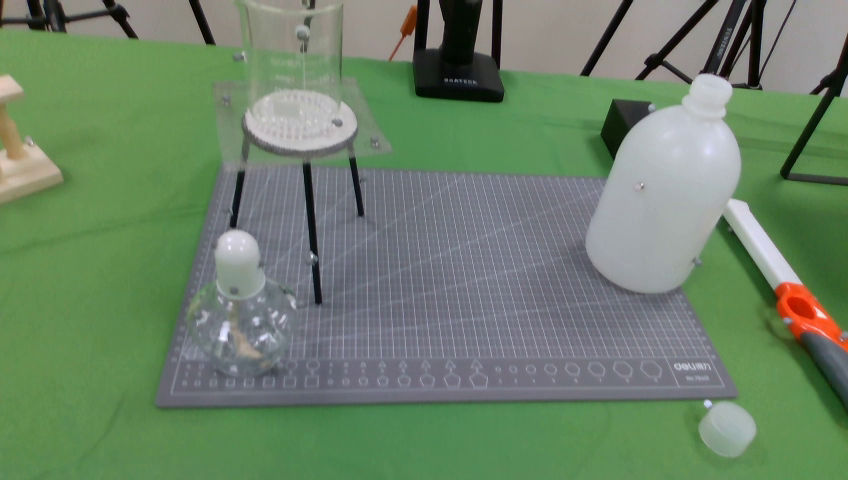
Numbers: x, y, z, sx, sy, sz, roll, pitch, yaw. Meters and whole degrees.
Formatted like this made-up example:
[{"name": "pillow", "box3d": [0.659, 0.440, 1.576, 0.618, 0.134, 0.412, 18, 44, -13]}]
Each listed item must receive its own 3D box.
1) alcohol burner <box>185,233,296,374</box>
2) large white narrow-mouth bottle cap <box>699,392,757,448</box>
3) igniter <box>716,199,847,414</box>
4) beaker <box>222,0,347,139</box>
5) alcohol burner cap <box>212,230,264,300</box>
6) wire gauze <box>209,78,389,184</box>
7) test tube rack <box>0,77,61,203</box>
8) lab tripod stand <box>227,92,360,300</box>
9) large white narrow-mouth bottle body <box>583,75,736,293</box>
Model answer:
[{"name": "alcohol burner", "box3d": [-0.131, 0.041, 0.433, 0.078, 0.120, 0.077, 7, 40, -5]}, {"name": "large white narrow-mouth bottle cap", "box3d": [0.232, 0.138, 0.464, 0.038, 0.024, 0.037, 5, 41, -4]}, {"name": "igniter", "box3d": [0.346, 0.052, 0.575, 0.057, 0.025, 0.273, 10, 40, -14]}, {"name": "beaker", "box3d": [-0.100, -0.133, 0.445, 0.084, 0.101, 0.073, -3, 44, -14]}, {"name": "alcohol burner cap", "box3d": [-0.127, 0.015, 0.408, 0.034, 0.048, 0.033, 5, 48, -5]}, {"name": "wire gauze", "box3d": [-0.101, -0.094, 0.476, 0.122, 0.011, 0.123, -10, 48, -17]}, {"name": "test tube rack", "box3d": [-0.456, -0.054, 0.507, 0.066, 0.086, 0.242, 37, 48, 28]}, {"name": "lab tripod stand", "box3d": [-0.105, -0.044, 0.518, 0.148, 0.132, 0.147, 6, 42, -6]}, {"name": "large white narrow-mouth bottle body", "box3d": [0.213, -0.051, 0.536, 0.102, 0.196, 0.101, 4, 41, -4]}]
